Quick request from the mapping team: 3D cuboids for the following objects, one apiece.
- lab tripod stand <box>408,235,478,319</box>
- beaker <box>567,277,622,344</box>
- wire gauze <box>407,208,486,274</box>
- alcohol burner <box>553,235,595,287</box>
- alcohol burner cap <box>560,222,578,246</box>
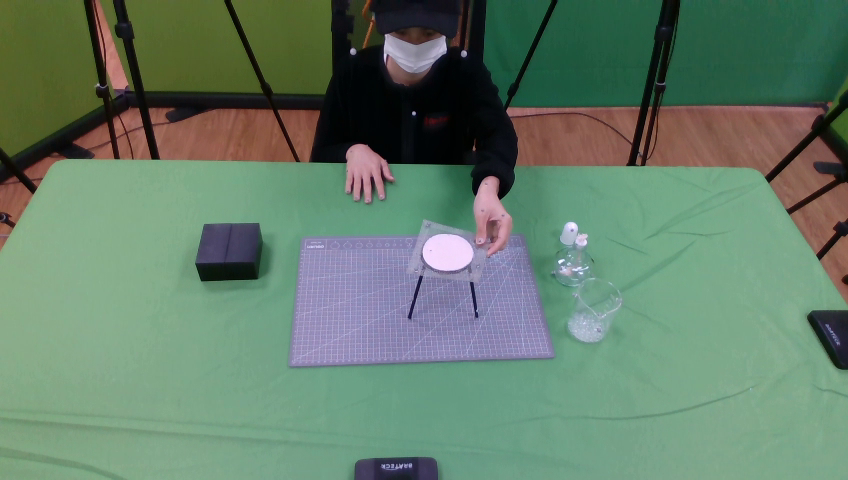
[{"bbox_3d":[0.032,0.065,1.057,0.148,0.132,0.147,1,45,-1],"label":"lab tripod stand"},{"bbox_3d":[0.291,0.127,1.045,0.074,0.101,0.083,7,47,4],"label":"beaker"},{"bbox_3d":[0.035,0.003,1.001,0.125,0.011,0.120,-8,51,-1],"label":"wire gauze"},{"bbox_3d":[0.282,0.032,1.127,0.078,0.120,0.077,1,48,-1],"label":"alcohol burner"},{"bbox_3d":[0.295,-0.015,1.223,0.034,0.048,0.033,2,47,-2],"label":"alcohol burner cap"}]
